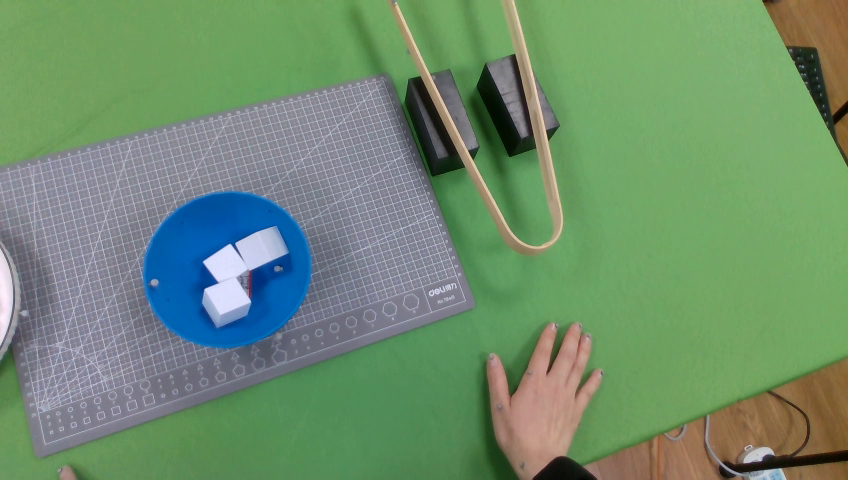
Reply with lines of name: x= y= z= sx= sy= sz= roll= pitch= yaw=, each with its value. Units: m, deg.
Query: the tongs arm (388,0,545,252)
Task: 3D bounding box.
tongs arm: x=0.031 y=-0.159 z=0.661 sx=0.051 sy=0.026 sz=0.383 roll=-19 pitch=78 yaw=-14

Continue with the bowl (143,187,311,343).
bowl: x=-0.186 y=0.031 z=0.598 sx=0.152 sy=0.077 sz=0.150 roll=2 pitch=74 yaw=-8

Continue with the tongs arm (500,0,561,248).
tongs arm: x=0.105 y=-0.179 z=0.677 sx=0.028 sy=0.028 sz=0.385 roll=-6 pitch=76 yaw=-15

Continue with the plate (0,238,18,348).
plate: x=-0.489 y=0.061 z=0.568 sx=0.208 sy=0.039 sz=0.206 roll=2 pitch=75 yaw=-7
